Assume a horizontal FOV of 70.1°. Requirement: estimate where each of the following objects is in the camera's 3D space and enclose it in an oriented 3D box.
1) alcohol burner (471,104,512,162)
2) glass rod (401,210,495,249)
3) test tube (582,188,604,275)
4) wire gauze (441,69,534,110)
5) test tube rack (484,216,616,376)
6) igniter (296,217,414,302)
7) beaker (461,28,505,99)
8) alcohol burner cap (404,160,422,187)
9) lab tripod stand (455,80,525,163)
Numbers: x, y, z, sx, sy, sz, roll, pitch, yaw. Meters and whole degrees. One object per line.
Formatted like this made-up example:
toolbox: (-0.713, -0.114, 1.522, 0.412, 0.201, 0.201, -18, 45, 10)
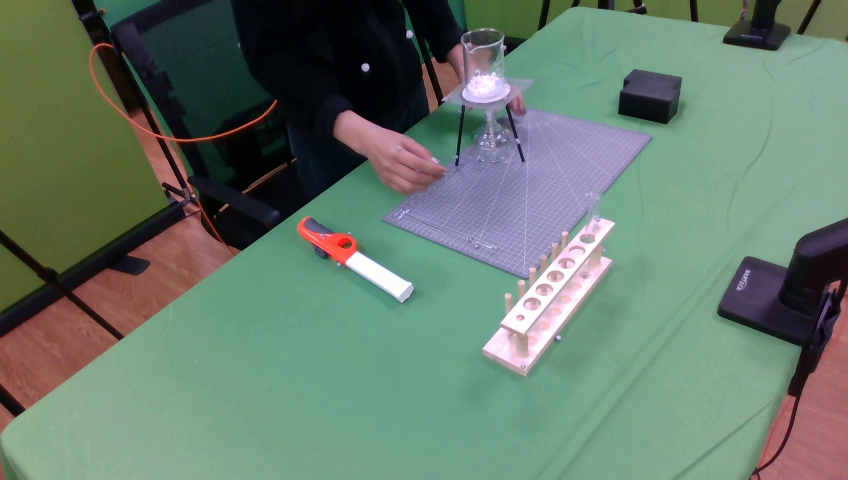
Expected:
alcohol burner: (0.125, -0.207, 1.126, 0.078, 0.119, 0.077, -5, 43, 5)
glass rod: (0.035, -0.018, 1.001, 0.198, 0.008, 0.008, 22, 50, 35)
test tube: (0.228, -0.007, 0.821, 0.017, 0.151, 0.017, -3, 42, 3)
wire gauze: (0.114, -0.268, 1.082, 0.120, 0.011, 0.125, 22, 47, 28)
test tube rack: (0.174, 0.064, 0.823, 0.066, 0.085, 0.243, 23, 49, 33)
igniter: (-0.121, 0.025, 0.970, 0.274, 0.025, 0.057, 29, 63, 37)
beaker: (0.103, -0.304, 1.051, 0.073, 0.101, 0.084, 19, 48, 29)
alcohol burner cap: (-0.023, -0.125, 1.118, 0.034, 0.048, 0.033, -5, 40, 5)
lab tripod stand: (0.120, -0.219, 1.126, 0.148, 0.132, 0.147, -4, 39, 4)
